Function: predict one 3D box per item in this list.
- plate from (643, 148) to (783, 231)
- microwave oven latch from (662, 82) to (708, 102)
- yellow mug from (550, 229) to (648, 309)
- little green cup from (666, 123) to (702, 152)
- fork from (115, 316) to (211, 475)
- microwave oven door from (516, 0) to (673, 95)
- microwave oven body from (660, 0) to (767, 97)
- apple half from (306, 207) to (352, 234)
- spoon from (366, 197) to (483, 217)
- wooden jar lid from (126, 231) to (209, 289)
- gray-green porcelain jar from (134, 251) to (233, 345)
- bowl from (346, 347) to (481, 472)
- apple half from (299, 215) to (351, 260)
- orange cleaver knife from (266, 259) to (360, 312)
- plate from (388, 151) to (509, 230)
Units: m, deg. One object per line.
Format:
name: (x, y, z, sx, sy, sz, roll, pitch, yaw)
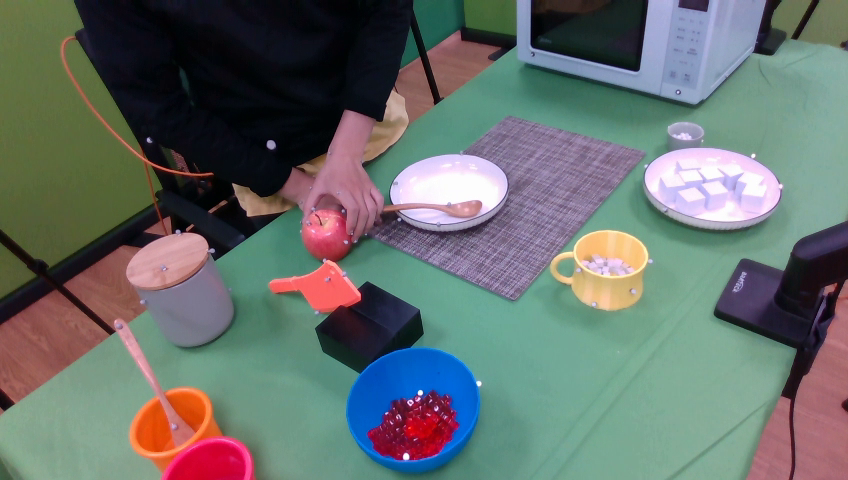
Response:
plate: (0.464, -0.079, 0.986, 0.207, 0.039, 0.206, -4, 41, 4)
microwave oven latch: (0.518, -0.298, 1.203, 0.078, 0.029, 0.030, 28, 53, 35)
yellow mug: (0.245, 0.040, 0.857, 0.130, 0.064, 0.099, 1, 42, 11)
little green cup: (0.472, -0.183, 1.102, 0.061, 0.039, 0.061, -5, 41, 5)
fork: (-0.308, 0.179, 0.708, 0.028, 0.018, 0.207, -30, 89, -21)
microwave oven door: (0.344, -0.458, 1.256, 0.353, 0.245, 0.039, 26, 51, 33)
microwave oven body: (0.473, -0.517, 1.314, 0.438, 0.261, 0.327, 26, 51, 34)
apple half: (-0.151, -0.025, 0.975, 0.081, 0.081, 0.032, 1, 39, 9)
spoon: (0.001, -0.056, 0.997, 0.194, 0.021, 0.041, 1, 56, -10)
wooden jar lid: (-0.340, 0.030, 0.809, 0.108, 0.021, 0.108, -5, 39, 5)
gray-green porcelain jar: (-0.334, 0.076, 0.849, 0.106, 0.127, 0.105, -4, 41, 4)
bowl: (-0.008, 0.205, 0.691, 0.151, 0.077, 0.150, -4, 40, 4)
apple half: (-0.159, 0.001, 0.954, 0.080, 0.075, 0.053, 5, 50, 8)
orange cleaver knife: (-0.161, 0.070, 0.859, 0.210, 0.077, 0.012, -13, 22, 49)
plate: (0.044, -0.082, 1.042, 0.209, 0.038, 0.208, -4, 40, 4)
